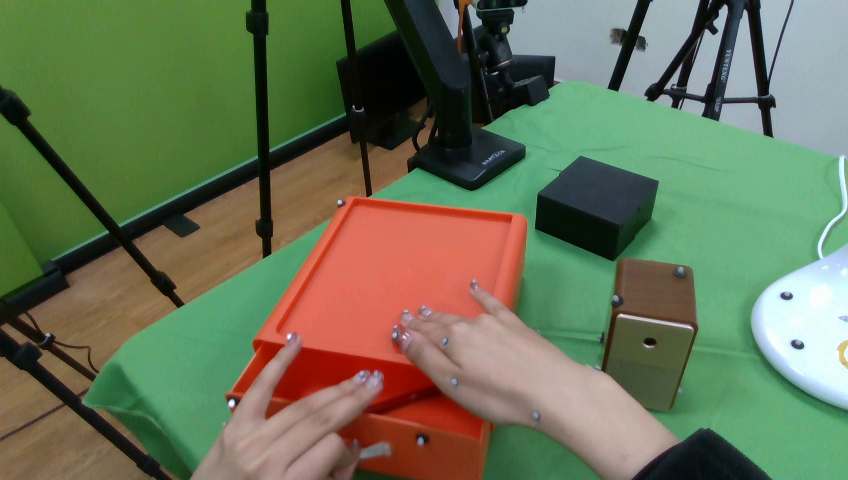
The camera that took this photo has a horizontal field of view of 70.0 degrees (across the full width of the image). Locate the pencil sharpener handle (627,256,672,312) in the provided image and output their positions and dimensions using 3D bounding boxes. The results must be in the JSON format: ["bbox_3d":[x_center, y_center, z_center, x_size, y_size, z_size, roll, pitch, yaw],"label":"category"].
[{"bbox_3d":[0.195,0.033,0.537,0.036,0.068,0.030,13,41,11],"label":"pencil sharpener handle"}]

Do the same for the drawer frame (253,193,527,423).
[{"bbox_3d":[-0.017,0.053,0.567,0.201,0.083,0.212,6,39,13],"label":"drawer frame"}]

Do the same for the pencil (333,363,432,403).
[{"bbox_3d":[-0.030,0.117,0.507,0.194,0.012,0.012,-22,42,-9],"label":"pencil"}]

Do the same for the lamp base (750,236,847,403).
[{"bbox_3d":[0.378,0.017,0.505,0.160,0.182,0.178,6,38,11],"label":"lamp base"}]

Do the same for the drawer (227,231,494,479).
[{"bbox_3d":[-0.028,0.087,0.529,0.194,0.074,0.210,6,39,13],"label":"drawer"}]

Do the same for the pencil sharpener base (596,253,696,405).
[{"bbox_3d":[0.183,0.074,0.507,0.061,0.108,0.076,8,40,15],"label":"pencil sharpener base"}]
